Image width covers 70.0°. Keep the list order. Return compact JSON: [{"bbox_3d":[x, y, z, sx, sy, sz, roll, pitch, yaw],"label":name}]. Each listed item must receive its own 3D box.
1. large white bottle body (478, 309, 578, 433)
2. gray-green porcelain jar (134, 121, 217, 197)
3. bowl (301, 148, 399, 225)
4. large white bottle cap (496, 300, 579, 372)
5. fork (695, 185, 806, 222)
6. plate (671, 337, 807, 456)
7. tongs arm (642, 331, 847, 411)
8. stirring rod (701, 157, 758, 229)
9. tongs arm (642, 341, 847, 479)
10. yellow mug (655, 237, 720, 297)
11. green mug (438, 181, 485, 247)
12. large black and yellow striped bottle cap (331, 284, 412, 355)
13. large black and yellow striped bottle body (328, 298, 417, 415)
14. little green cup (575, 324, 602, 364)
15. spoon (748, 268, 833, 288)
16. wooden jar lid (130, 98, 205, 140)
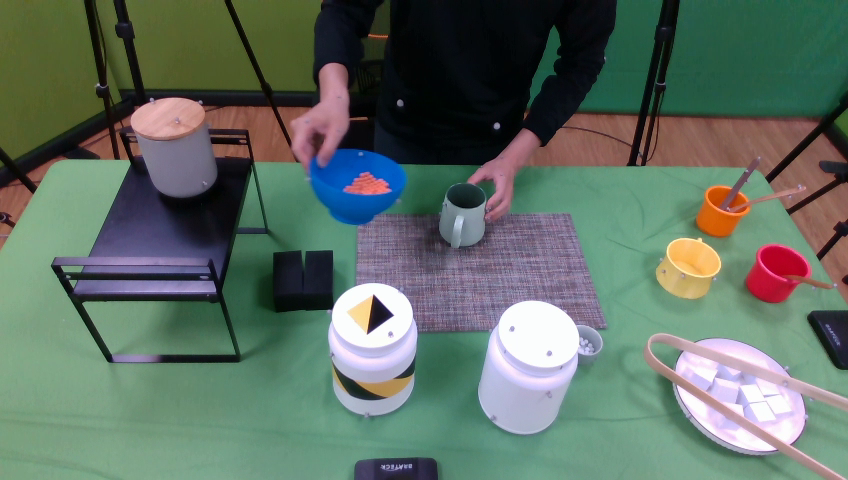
[{"bbox_3d":[0.156,0.192,0.913,0.131,0.185,0.130,2,46,-2],"label":"large white bottle body"},{"bbox_3d":[-0.397,-0.141,0.980,0.106,0.127,0.105,2,47,-2],"label":"gray-green porcelain jar"},{"bbox_3d":[-0.118,-0.075,0.941,0.151,0.077,0.150,9,33,-6],"label":"bowl"},{"bbox_3d":[0.160,0.133,0.852,0.115,0.018,0.114,3,46,-3],"label":"large white bottle cap"},{"bbox_3d":[0.658,-0.074,1.230,0.207,0.019,0.028,-23,36,37],"label":"fork"},{"bbox_3d":[0.503,0.254,0.984,0.208,0.039,0.206,2,46,-2],"label":"plate"},{"bbox_3d":[0.546,0.227,0.968,0.384,0.026,0.050,22,52,13],"label":"tongs arm"},{"bbox_3d":[0.634,-0.096,1.257,0.014,0.006,0.176,38,97,30],"label":"stirring rod"},{"bbox_3d":[0.504,0.278,0.918,0.386,0.028,0.028,34,59,22],"label":"tongs arm"},{"bbox_3d":[0.509,0.041,1.167,0.099,0.064,0.130,24,48,18],"label":"yellow mug"},{"bbox_3d":[0.071,-0.039,1.177,0.092,0.105,0.124,12,47,7],"label":"green mug"},{"bbox_3d":[-0.073,0.110,0.858,0.115,0.019,0.114,2,46,-2],"label":"large black and yellow striped bottle cap"},{"bbox_3d":[-0.078,0.167,0.920,0.131,0.185,0.130,2,46,-2],"label":"large black and yellow striped bottle body"},{"bbox_3d":[0.269,0.180,1.036,0.061,0.039,0.061,2,45,-2],"label":"little green cup"},{"bbox_3d":[0.660,0.068,1.098,0.041,0.193,0.021,-4,91,-6],"label":"spoon"},{"bbox_3d":[-0.393,-0.183,0.934,0.108,0.021,0.107,3,44,-2],"label":"wooden jar lid"}]
